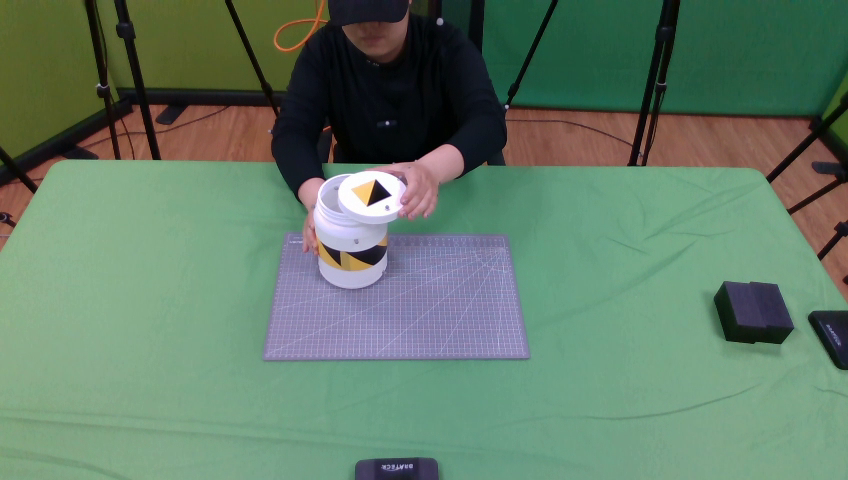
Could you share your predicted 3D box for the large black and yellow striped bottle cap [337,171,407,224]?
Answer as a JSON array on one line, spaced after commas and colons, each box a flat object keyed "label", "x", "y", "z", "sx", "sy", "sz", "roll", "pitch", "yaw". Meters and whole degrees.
[{"label": "large black and yellow striped bottle cap", "x": -0.084, "y": -0.071, "z": 0.986, "sx": 0.115, "sy": 0.019, "sz": 0.114, "roll": 4, "pitch": 44, "yaw": -3}]

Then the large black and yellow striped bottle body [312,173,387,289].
[{"label": "large black and yellow striped bottle body", "x": -0.131, "y": -0.016, "z": 1.087, "sx": 0.131, "sy": 0.185, "sz": 0.130, "roll": 2, "pitch": 46, "yaw": -2}]
